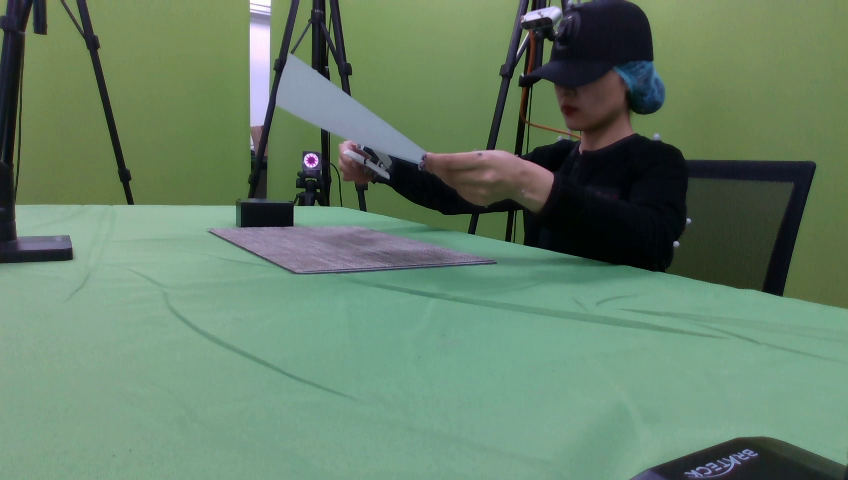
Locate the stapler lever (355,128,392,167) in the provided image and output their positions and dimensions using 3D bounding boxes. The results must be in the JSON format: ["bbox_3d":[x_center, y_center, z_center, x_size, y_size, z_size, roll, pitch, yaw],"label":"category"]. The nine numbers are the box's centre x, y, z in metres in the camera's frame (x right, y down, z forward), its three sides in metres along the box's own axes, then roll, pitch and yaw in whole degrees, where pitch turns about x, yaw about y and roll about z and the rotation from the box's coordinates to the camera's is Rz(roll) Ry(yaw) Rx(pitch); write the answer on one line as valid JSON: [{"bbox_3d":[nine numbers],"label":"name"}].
[{"bbox_3d":[-0.086,-0.162,1.065,0.027,0.040,0.118,29,2,21],"label":"stapler lever"}]

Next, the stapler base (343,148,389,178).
[{"bbox_3d":[-0.097,-0.141,1.064,0.041,0.024,0.131,29,1,21],"label":"stapler base"}]
